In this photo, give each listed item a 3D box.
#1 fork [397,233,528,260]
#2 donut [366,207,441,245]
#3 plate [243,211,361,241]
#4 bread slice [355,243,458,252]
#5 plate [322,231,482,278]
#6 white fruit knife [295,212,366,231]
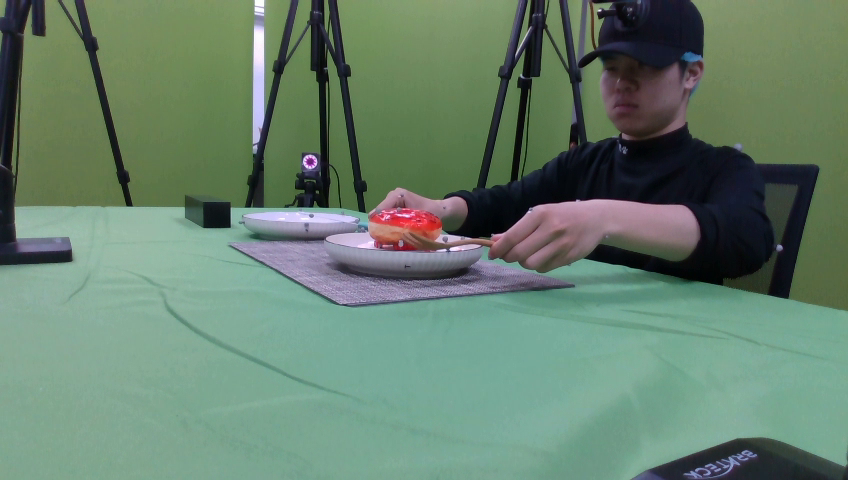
[{"bbox_3d":[0.051,0.011,0.680,0.208,0.018,0.028,4,33,-40],"label":"fork"},{"bbox_3d":[-0.027,-0.017,0.785,0.099,0.048,0.099,3,7,0],"label":"donut"},{"bbox_3d":[-0.219,-0.025,1.092,0.208,0.039,0.207,3,7,0],"label":"plate"},{"bbox_3d":[-0.027,0.019,0.794,0.131,0.019,0.105,5,7,17],"label":"bread slice"},{"bbox_3d":[-0.028,0.018,0.789,0.209,0.038,0.209,3,7,0],"label":"plate"},{"bbox_3d":[-0.099,-0.022,0.903,0.208,0.016,0.027,10,-2,-38],"label":"white fruit knife"}]
